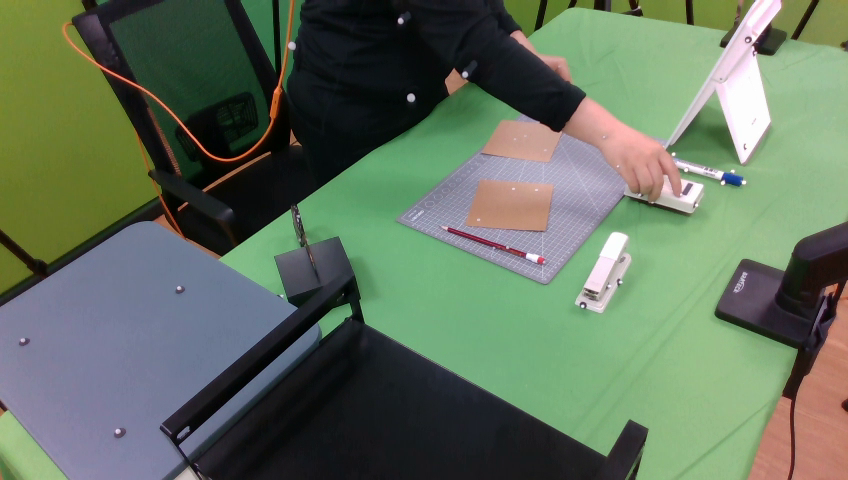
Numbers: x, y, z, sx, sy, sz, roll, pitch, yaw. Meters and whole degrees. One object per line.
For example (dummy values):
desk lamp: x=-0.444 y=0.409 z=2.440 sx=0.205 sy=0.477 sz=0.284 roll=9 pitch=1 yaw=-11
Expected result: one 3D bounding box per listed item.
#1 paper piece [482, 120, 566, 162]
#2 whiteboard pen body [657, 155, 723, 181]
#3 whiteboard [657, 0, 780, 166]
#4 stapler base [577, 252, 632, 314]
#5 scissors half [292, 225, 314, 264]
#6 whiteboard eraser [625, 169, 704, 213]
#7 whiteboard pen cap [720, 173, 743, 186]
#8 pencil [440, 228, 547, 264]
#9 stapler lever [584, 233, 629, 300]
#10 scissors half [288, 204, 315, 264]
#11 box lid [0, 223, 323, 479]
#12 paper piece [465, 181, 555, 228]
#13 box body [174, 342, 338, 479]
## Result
paper piece: x=0.197 y=-0.198 z=1.188 sx=0.135 sy=0.004 sz=0.135 roll=11 pitch=44 yaw=21
whiteboard pen body: x=0.475 y=-0.123 z=1.052 sx=0.139 sy=0.017 sz=0.017 roll=25 pitch=50 yaw=31
whiteboard: x=0.571 y=-0.272 z=1.038 sx=0.143 sy=0.306 sz=0.218 roll=37 pitch=54 yaw=17
stapler base: x=0.264 y=0.051 z=0.875 sx=0.041 sy=0.024 sz=0.131 roll=16 pitch=47 yaw=30
scissors half: x=-0.188 y=0.007 z=0.955 sx=0.013 sy=0.040 sz=0.174 roll=-20 pitch=22 yaw=-13
whiteboard eraser: x=0.393 y=-0.078 z=0.992 sx=0.112 sy=0.042 sz=0.056 roll=20 pitch=49 yaw=31
whiteboard pen cap: x=0.519 y=-0.103 z=1.020 sx=0.033 sy=0.018 sz=0.018 roll=23 pitch=49 yaw=29
pencil: x=0.105 y=0.007 z=0.957 sx=0.192 sy=0.012 sz=0.012 roll=18 pitch=46 yaw=30
stapler lever: x=0.261 y=0.034 z=0.858 sx=0.026 sy=0.040 sz=0.118 roll=16 pitch=46 yaw=30
scissors half: x=-0.191 y=-0.010 z=0.944 sx=0.013 sy=0.040 sz=0.173 roll=-16 pitch=38 yaw=-16
box lid: x=-0.318 y=0.109 z=0.671 sx=0.368 sy=0.015 sz=0.264 roll=24 pitch=49 yaw=31
paper piece: x=0.149 y=-0.062 z=1.034 sx=0.137 sy=0.009 sz=0.136 roll=4 pitch=37 yaw=17
box body: x=-0.311 y=0.165 z=0.720 sx=0.361 sy=0.161 sz=0.255 roll=23 pitch=49 yaw=32
